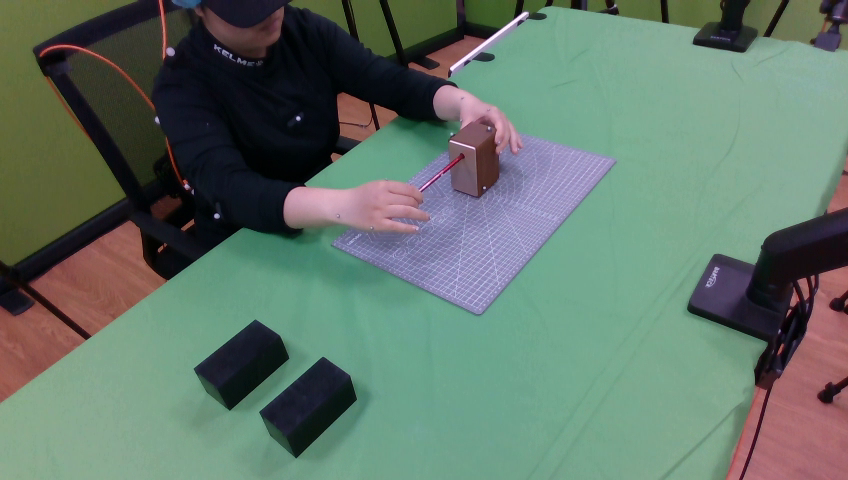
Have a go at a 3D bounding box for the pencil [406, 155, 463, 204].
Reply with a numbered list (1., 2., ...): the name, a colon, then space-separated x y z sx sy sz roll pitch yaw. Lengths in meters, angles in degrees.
1. pencil: 0.031 -0.110 0.984 0.012 0.012 0.194 21 45 30

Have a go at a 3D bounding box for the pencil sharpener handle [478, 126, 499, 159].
1. pencil sharpener handle: 0.119 -0.177 1.073 0.035 0.068 0.031 21 47 31

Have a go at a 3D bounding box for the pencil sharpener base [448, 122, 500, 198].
1. pencil sharpener base: 0.090 -0.140 1.052 0.061 0.107 0.077 22 48 31
